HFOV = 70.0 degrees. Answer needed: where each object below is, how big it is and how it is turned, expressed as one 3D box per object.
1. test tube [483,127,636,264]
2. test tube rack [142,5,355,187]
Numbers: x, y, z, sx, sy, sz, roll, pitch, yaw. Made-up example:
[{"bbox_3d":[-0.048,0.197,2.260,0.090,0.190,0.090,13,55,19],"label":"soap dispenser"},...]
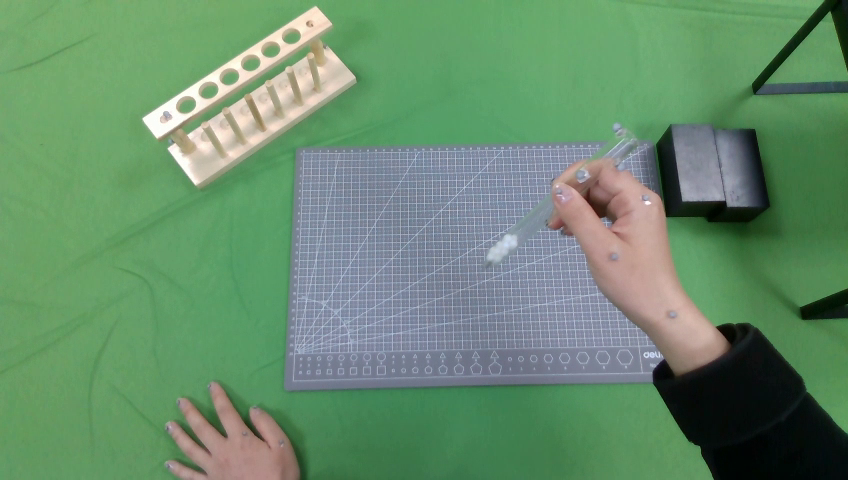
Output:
[{"bbox_3d":[0.092,-0.026,0.437,0.017,0.150,0.017,24,43,-24],"label":"test tube"},{"bbox_3d":[-0.204,-0.174,0.738,0.242,0.085,0.066,-38,76,-11],"label":"test tube rack"}]
